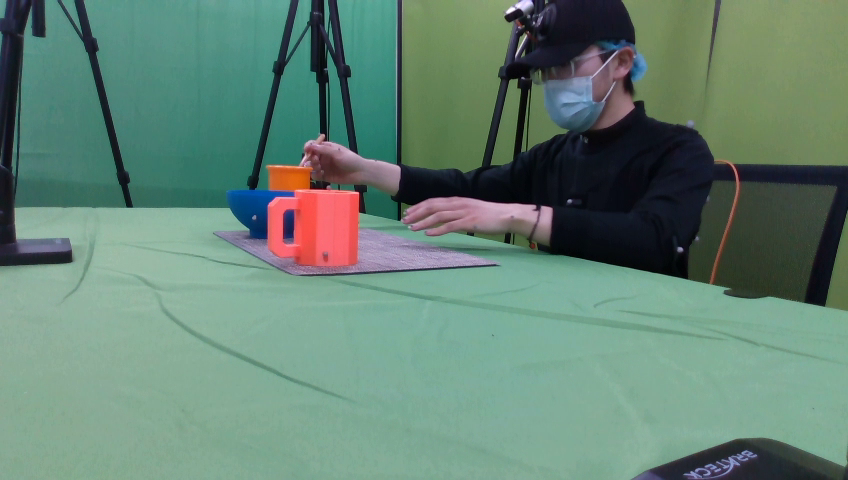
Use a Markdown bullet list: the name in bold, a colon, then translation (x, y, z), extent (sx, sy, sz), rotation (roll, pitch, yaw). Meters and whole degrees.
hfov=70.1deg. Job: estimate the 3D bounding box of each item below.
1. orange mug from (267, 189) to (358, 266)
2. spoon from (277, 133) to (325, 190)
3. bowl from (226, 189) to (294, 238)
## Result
- **orange mug**: translation (-0.145, -0.019, 0.797), extent (0.127, 0.100, 0.083), rotation (2, 6, -37)
- **spoon**: translation (-0.249, -0.154, 1.234), extent (0.041, 0.193, 0.022), rotation (11, -32, 24)
- **bowl**: translation (-0.264, -0.046, 1.050), extent (0.151, 0.077, 0.151), rotation (2, 7, 0)
